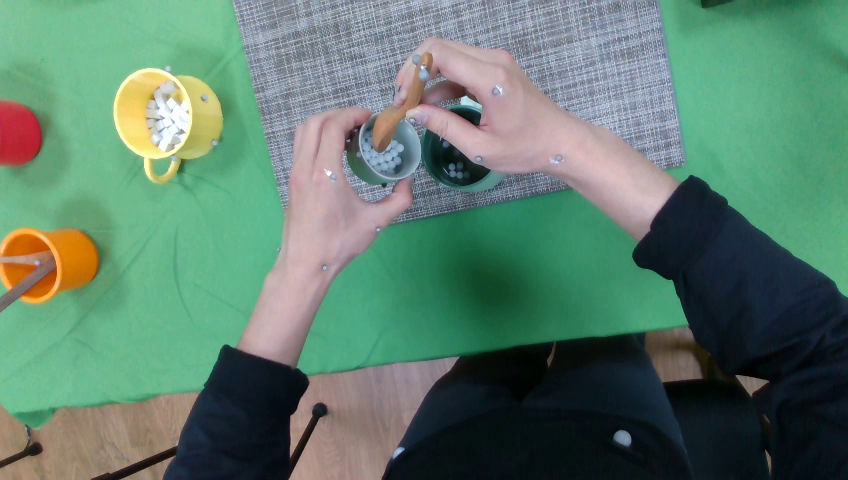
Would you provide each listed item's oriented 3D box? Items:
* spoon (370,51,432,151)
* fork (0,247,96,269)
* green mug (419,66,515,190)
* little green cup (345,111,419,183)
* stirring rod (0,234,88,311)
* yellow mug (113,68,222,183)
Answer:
[{"bbox_3d":[-0.017,-0.100,0.445,0.022,0.193,0.041,26,81,-12],"label":"spoon"},{"bbox_3d":[-0.515,0.022,0.732,0.208,0.018,0.028,0,98,-32],"label":"fork"},{"bbox_3d":[0.045,-0.113,0.615,0.092,0.105,0.125,6,99,11],"label":"green mug"},{"bbox_3d":[-0.039,-0.081,0.540,0.038,0.061,0.061,-18,95,58],"label":"little green cup"},{"bbox_3d":[-0.486,0.054,0.736,0.014,0.006,0.175,40,62,3],"label":"stirring rod"},{"bbox_3d":[-0.301,-0.130,0.708,0.100,0.064,0.131,15,102,9],"label":"yellow mug"}]
